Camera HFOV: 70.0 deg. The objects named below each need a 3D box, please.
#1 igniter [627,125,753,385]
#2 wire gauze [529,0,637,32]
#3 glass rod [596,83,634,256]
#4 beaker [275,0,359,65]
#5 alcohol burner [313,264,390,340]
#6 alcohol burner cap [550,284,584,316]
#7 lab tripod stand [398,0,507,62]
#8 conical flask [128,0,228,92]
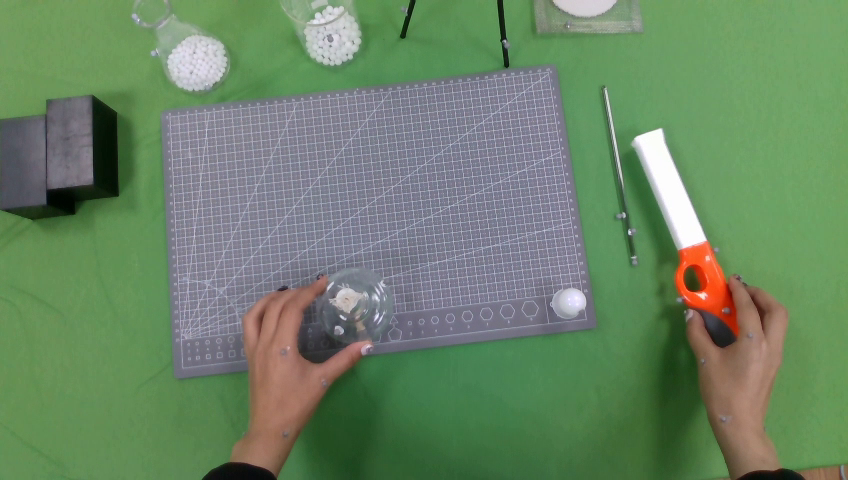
[{"bbox_3d":[0.275,0.012,0.628,0.057,0.025,0.275,-18,82,-2],"label":"igniter"},{"bbox_3d":[0.181,-0.298,0.701,0.125,0.011,0.121,-2,82,-1],"label":"wire gauze"},{"bbox_3d":[0.210,-0.080,0.668,0.008,0.008,0.199,-7,80,0],"label":"glass rod"},{"bbox_3d":[-0.108,-0.242,0.652,0.084,0.100,0.074,-33,82,-5],"label":"beaker"},{"bbox_3d":[-0.073,0.059,0.595,0.078,0.119,0.077,0,79,0],"label":"alcohol burner"},{"bbox_3d":[0.150,0.060,0.626,0.034,0.048,0.033,0,80,2],"label":"alcohol burner cap"},{"bbox_3d":[0.039,-0.263,0.635,0.148,0.132,0.148,0,83,2],"label":"lab tripod stand"},{"bbox_3d":[-0.263,-0.213,0.639,0.075,0.122,0.075,0,80,2],"label":"conical flask"}]
